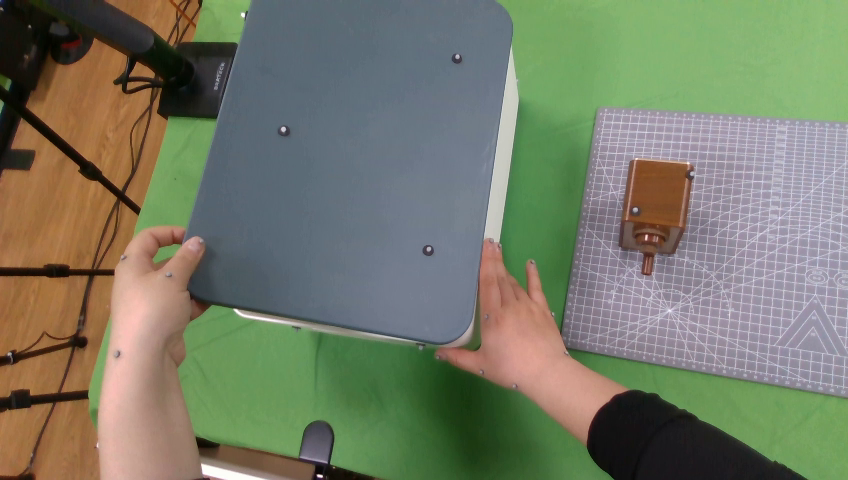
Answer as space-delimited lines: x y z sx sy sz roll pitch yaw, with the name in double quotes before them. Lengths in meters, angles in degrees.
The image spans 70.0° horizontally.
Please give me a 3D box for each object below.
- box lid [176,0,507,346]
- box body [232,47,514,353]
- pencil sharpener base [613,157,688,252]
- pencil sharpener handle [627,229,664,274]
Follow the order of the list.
"box lid" -0.062 -0.099 0.579 0.264 0.015 0.369 11 74 -10
"box body" -0.041 -0.061 0.706 0.253 0.161 0.362 5 76 16
"pencil sharpener base" 0.239 -0.032 0.647 0.061 0.108 0.076 8 77 17
"pencil sharpener handle" 0.228 0.013 0.625 0.036 0.068 0.030 6 76 26
